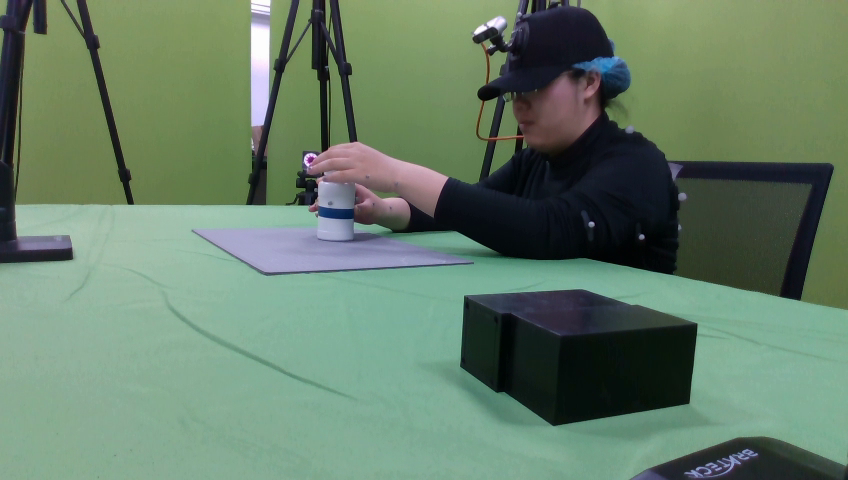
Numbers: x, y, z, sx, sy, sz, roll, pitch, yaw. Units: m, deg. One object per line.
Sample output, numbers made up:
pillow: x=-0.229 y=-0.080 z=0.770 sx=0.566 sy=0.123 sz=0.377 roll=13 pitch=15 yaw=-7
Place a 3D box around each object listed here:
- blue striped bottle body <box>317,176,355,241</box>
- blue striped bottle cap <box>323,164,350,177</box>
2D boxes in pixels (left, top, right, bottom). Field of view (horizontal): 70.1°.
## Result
blue striped bottle body: x=-0.148 y=-0.061 z=1.024 sx=0.063 sy=0.120 sz=0.063 roll=3 pitch=7 yaw=0
blue striped bottle cap: x=-0.146 y=-0.116 z=1.016 sx=0.044 sy=0.020 sz=0.044 roll=5 pitch=7 yaw=0
